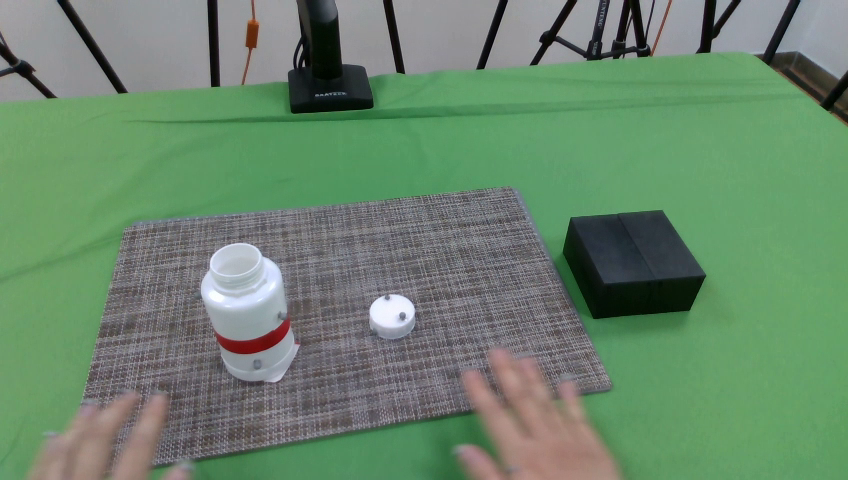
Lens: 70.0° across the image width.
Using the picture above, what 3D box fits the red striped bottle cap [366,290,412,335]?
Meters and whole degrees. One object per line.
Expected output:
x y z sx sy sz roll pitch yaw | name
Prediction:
-0.033 0.068 0.578 0.044 0.018 0.044 6 40 -5 | red striped bottle cap

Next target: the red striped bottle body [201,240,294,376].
-0.148 0.056 0.510 0.063 0.121 0.062 1 43 -1 | red striped bottle body
